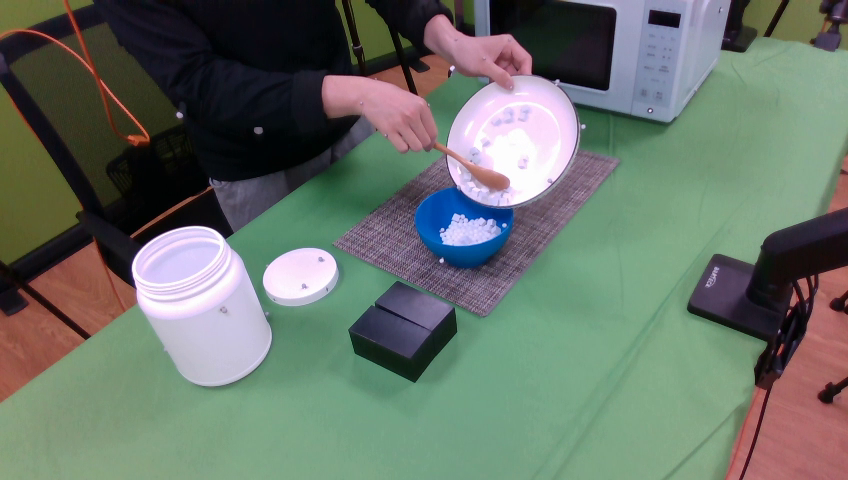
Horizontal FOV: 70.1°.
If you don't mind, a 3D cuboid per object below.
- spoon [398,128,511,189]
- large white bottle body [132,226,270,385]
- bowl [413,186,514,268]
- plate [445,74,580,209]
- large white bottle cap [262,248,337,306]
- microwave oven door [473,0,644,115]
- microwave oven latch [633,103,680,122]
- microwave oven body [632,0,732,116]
[{"bbox_3d":[0.042,-0.123,0.903,0.193,0.042,0.021,32,74,17],"label":"spoon"},{"bbox_3d":[-0.286,0.085,0.784,0.130,0.185,0.130,-4,41,4],"label":"large white bottle body"},{"bbox_3d":[0.062,-0.010,0.922,0.151,0.077,0.150,-4,40,4],"label":"bowl"},{"bbox_3d":[0.132,-0.144,0.905,0.208,0.038,0.208,-7,75,26],"label":"plate"},{"bbox_3d":[-0.193,0.056,0.934,0.115,0.018,0.114,-4,41,4],"label":"large white bottle cap"},{"bbox_3d":[0.257,-0.396,1.199,0.353,0.245,0.039,21,48,29],"label":"microwave oven door"},{"bbox_3d":[0.443,-0.249,1.157,0.078,0.029,0.030,21,49,30],"label":"microwave oven latch"},{"bbox_3d":[0.377,-0.463,1.267,0.438,0.261,0.327,21,49,30],"label":"microwave oven body"}]
